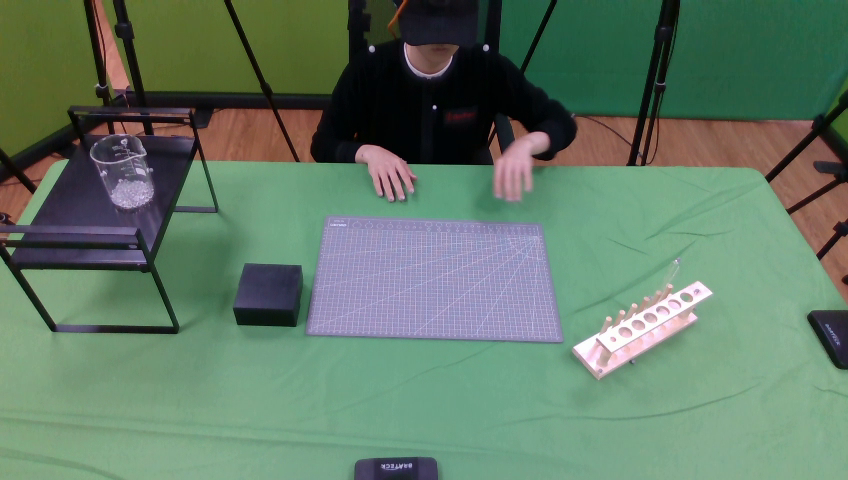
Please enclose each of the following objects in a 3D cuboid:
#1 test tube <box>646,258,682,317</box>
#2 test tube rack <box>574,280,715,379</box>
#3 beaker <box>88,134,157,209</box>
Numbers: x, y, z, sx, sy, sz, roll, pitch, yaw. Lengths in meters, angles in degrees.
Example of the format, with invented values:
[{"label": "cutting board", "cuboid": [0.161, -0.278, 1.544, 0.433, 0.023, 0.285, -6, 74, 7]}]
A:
[{"label": "test tube", "cuboid": [0.407, 0.082, 1.033, 0.017, 0.151, 0.017, 2, 47, -2]}, {"label": "test tube rack", "cuboid": [0.378, 0.140, 1.038, 0.242, 0.085, 0.066, -22, 51, -23]}, {"label": "beaker", "cuboid": [-0.470, -0.105, 0.960, 0.084, 0.101, 0.073, 4, 46, 0]}]
